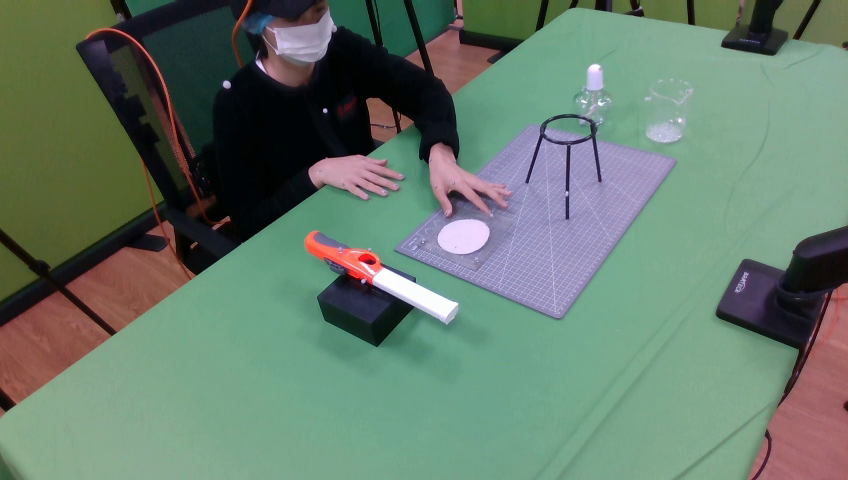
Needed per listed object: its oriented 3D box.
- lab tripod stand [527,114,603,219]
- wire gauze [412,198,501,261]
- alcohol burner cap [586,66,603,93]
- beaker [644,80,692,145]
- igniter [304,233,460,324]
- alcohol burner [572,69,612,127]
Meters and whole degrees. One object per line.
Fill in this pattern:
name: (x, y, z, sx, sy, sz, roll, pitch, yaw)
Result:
lab tripod stand: (0.234, -0.129, 1.002, 0.148, 0.132, 0.147, -6, 40, 6)
wire gauze: (0.053, -0.016, 0.968, 0.121, 0.011, 0.125, 6, 50, 16)
alcohol burner cap: (0.330, -0.312, 1.170, 0.034, 0.048, 0.033, -8, 38, 7)
beaker: (0.451, -0.233, 1.122, 0.074, 0.101, 0.083, -8, 41, 1)
igniter: (-0.070, 0.048, 0.853, 0.274, 0.025, 0.057, 24, 47, 29)
alcohol burner: (0.333, -0.285, 1.192, 0.078, 0.119, 0.077, -4, 42, 4)
